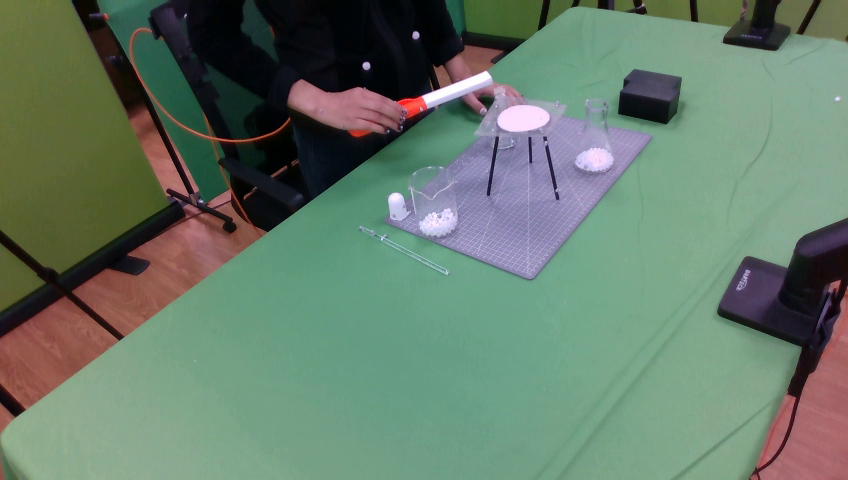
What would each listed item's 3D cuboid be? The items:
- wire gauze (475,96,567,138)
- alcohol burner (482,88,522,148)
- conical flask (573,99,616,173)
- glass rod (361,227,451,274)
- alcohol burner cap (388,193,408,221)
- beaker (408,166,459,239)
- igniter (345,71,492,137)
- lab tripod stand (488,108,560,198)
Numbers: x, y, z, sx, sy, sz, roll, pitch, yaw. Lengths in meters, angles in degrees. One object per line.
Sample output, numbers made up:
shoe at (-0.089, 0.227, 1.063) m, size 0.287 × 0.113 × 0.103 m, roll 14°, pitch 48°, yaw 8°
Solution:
wire gauze at (0.161, -0.201, 0.994) m, size 0.121 × 0.011 × 0.125 m, roll 11°, pitch 43°, yaw 23°
alcohol burner at (0.149, -0.237, 1.160) m, size 0.078 × 0.119 × 0.077 m, roll -4°, pitch 39°, yaw 4°
conical flask at (0.302, -0.184, 1.061) m, size 0.075 × 0.122 × 0.075 m, roll -5°, pitch 40°, yaw 5°
glass rod at (-0.033, 0.014, 0.985) m, size 0.198 × 0.008 × 0.008 m, roll 25°, pitch 52°, yaw 34°
alcohol burner cap at (-0.047, -0.059, 1.043) m, size 0.034 × 0.048 × 0.033 m, roll -6°, pitch 41°, yaw 6°
beaker at (0.018, -0.058, 0.984) m, size 0.074 × 0.101 × 0.083 m, roll -6°, pitch 41°, yaw 6°
igniter at (-0.010, -0.244, 1.090) m, size 0.277 × 0.025 × 0.057 m, roll -22°, pitch 43°, yaw -3°
lab tripod stand at (0.173, -0.150, 1.037) m, size 0.148 × 0.132 × 0.147 m, roll -7°, pitch 38°, yaw 6°
